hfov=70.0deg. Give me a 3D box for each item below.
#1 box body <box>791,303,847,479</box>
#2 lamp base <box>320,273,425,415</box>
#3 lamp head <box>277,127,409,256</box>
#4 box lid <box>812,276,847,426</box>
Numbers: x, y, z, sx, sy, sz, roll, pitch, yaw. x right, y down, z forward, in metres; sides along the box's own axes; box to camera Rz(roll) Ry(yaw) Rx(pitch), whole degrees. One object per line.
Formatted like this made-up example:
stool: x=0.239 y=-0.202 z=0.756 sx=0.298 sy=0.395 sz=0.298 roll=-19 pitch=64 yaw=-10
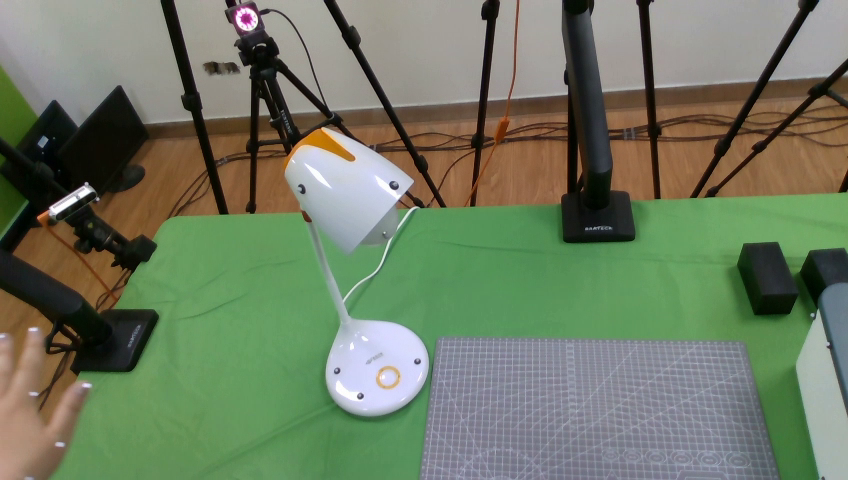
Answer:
box body: x=0.579 y=0.235 z=0.656 sx=0.253 sy=0.162 sz=0.361 roll=2 pitch=48 yaw=13
lamp base: x=-0.098 y=0.137 z=0.877 sx=0.160 sy=0.182 sz=0.177 roll=-40 pitch=50 yaw=-23
lamp head: x=-0.095 y=-0.058 z=0.649 sx=0.123 sy=0.112 sz=0.112 roll=38 pitch=59 yaw=-2
box lid: x=0.568 y=0.184 z=0.603 sx=0.262 sy=0.015 sz=0.368 roll=2 pitch=49 yaw=14
